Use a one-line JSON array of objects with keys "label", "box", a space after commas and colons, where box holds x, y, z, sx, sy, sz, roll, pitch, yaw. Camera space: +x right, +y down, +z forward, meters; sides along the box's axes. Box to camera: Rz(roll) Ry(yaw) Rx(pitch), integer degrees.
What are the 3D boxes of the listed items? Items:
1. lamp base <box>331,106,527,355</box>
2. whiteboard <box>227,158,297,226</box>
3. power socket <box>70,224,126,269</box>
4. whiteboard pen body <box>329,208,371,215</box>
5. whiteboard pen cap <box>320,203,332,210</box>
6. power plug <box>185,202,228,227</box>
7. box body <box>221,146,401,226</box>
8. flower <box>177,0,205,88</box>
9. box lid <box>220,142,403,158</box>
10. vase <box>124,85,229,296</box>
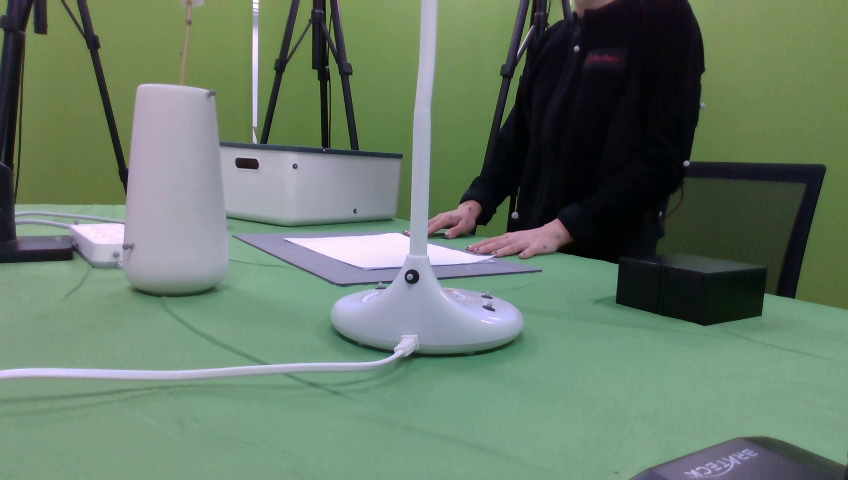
[{"label": "lamp base", "box": [0.006, -0.012, 0.478, 0.161, 0.180, 0.179, 2, 10, 2]}, {"label": "whiteboard", "box": [-0.265, -0.116, 1.372, 0.216, 0.143, 0.307, 4, 7, 35]}, {"label": "power socket", "box": [-0.409, 0.004, 0.792, 0.072, 0.032, 0.225, -2, 8, -37]}, {"label": "whiteboard pen body", "box": [-0.189, -0.073, 1.521, 0.140, 0.017, 0.017, 3, 6, 37]}, {"label": "whiteboard pen cap", "box": [-0.247, -0.084, 1.531, 0.033, 0.018, 0.018, 10, 10, 39]}, {"label": "power plug", "box": [-0.408, -0.043, 1.151, 0.072, 0.052, 0.035, -17, 5, 15]}, {"label": "box body", "box": [-0.254, -0.128, 1.379, 0.253, 0.160, 0.366, 8, 9, 36]}, {"label": "flower", "box": [-0.243, -0.131, 0.609, 0.044, 0.361, 0.038, -5, -12, 12]}, {"label": "box lid", "box": [-0.252, -0.202, 1.368, 0.262, 0.015, 0.373, 9, 9, 36]}, {"label": "vase", "box": [-0.244, -0.047, 0.598, 0.098, 0.200, 0.098, 3, 8, 0]}]
